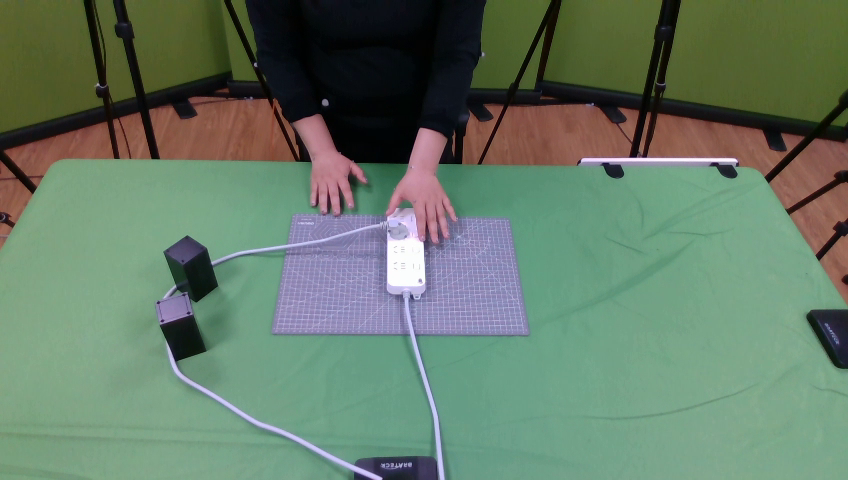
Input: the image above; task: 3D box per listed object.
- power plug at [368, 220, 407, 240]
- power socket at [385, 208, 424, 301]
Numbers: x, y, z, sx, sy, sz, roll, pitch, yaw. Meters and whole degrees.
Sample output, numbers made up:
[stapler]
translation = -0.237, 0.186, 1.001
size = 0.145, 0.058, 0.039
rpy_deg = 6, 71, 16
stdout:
[power plug]
translation = -0.069, -0.017, 1.172
size = 0.072, 0.053, 0.035
rpy_deg = 7, 45, 5
[power socket]
translation = -0.039, 0.019, 1.165
size = 0.072, 0.033, 0.225
rpy_deg = 0, 46, -3
